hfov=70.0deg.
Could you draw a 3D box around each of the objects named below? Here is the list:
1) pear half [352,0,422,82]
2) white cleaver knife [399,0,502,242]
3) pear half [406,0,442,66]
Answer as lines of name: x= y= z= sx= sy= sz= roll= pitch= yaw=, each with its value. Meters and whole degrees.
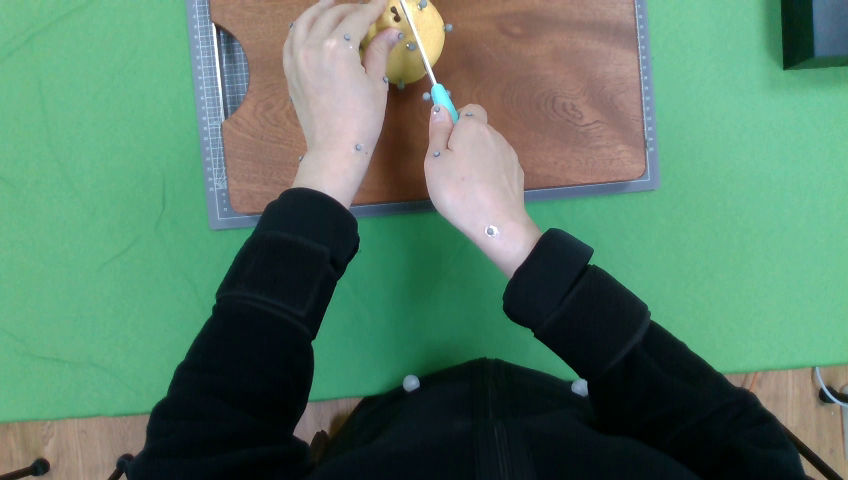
pear half: x=-0.035 y=-0.176 z=0.521 sx=0.056 sy=0.110 sz=0.076 roll=-25 pitch=87 yaw=-2
white cleaver knife: x=0.007 y=-0.134 z=0.495 sx=0.021 sy=0.066 sz=0.286 roll=-20 pitch=89 yaw=5
pear half: x=-0.001 y=-0.191 z=0.530 sx=0.031 sy=0.088 sz=0.070 roll=-27 pitch=87 yaw=-2
